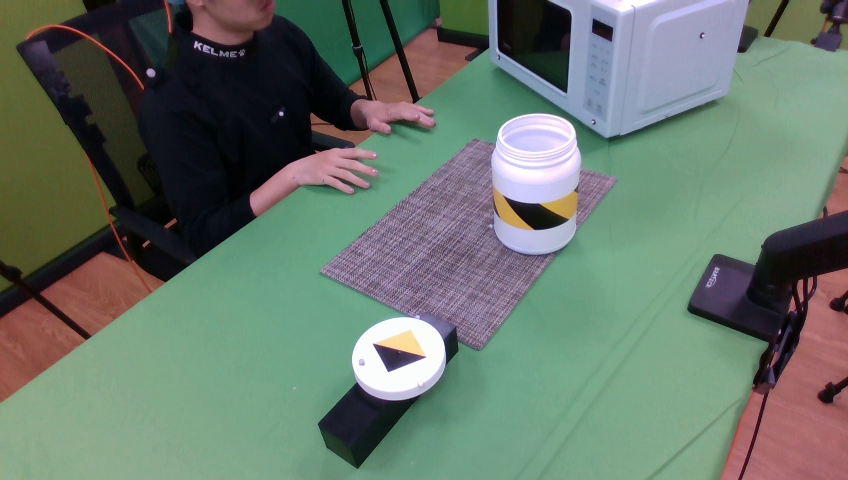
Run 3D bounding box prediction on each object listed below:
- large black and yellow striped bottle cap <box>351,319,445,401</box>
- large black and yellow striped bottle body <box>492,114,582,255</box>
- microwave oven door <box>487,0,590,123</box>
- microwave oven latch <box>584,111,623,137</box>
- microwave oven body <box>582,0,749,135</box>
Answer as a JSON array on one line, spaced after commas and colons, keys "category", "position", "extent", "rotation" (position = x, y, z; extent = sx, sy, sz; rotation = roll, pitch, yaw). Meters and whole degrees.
[{"category": "large black and yellow striped bottle cap", "position": [-0.031, 0.143, 0.735], "extent": [0.115, 0.019, 0.114], "rotation": [-3, 40, 3]}, {"category": "large black and yellow striped bottle body", "position": [0.169, -0.084, 0.912], "extent": [0.131, 0.185, 0.130], "rotation": [-4, 41, 4]}, {"category": "microwave oven door", "position": [0.232, -0.420, 1.230], "extent": [0.039, 0.245, 0.352], "rotation": [-22, 43, -16]}, {"category": "microwave oven latch", "position": [0.337, -0.222, 1.142], "extent": [0.030, 0.029, 0.078], "rotation": [-21, 42, -14]}, {"category": "microwave oven body", "position": [0.382, -0.444, 1.246], "extent": [0.327, 0.261, 0.437], "rotation": [-22, 42, -16]}]
